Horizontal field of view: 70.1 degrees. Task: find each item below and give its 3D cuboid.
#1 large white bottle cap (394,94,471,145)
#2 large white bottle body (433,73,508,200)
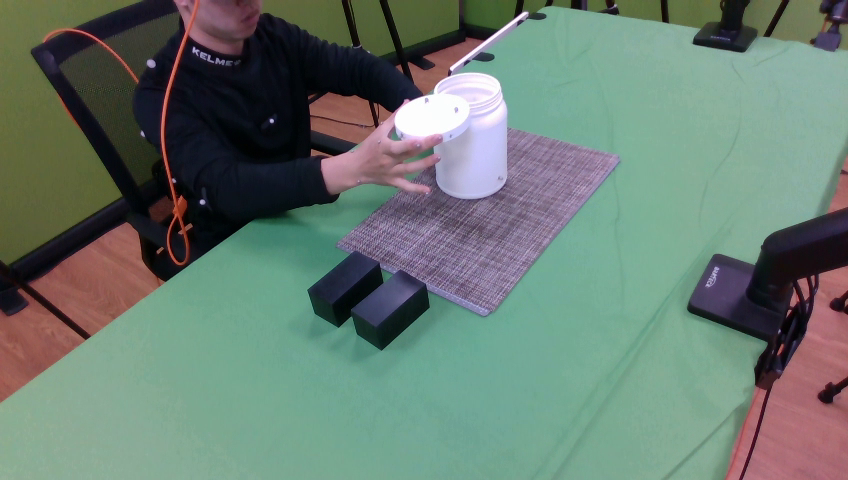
[{"bbox_3d":[0.012,-0.181,0.899,0.115,0.018,0.114,-7,42,7],"label":"large white bottle cap"},{"bbox_3d":[0.078,-0.177,1.032,0.130,0.185,0.130,-4,41,4],"label":"large white bottle body"}]
